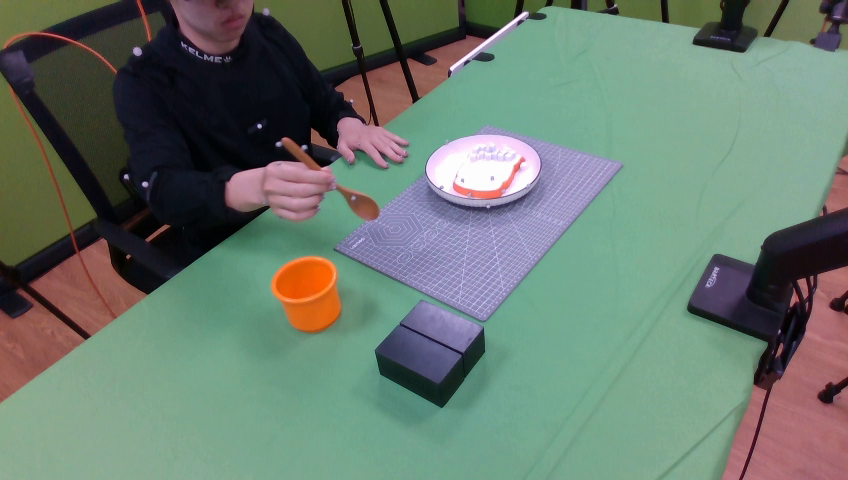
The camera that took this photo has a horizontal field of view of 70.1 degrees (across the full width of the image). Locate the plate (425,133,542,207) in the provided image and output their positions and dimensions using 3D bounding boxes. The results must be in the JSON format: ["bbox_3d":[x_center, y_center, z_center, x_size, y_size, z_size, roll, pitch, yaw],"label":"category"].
[{"bbox_3d":[0.106,-0.121,1.079,0.209,0.038,0.208,-4,41,4],"label":"plate"}]

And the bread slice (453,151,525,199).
[{"bbox_3d":[0.112,-0.118,1.079,0.104,0.019,0.131,11,42,21],"label":"bread slice"}]

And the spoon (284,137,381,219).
[{"bbox_3d":[-0.122,-0.081,0.828,0.041,0.195,0.021,-18,56,25],"label":"spoon"}]
